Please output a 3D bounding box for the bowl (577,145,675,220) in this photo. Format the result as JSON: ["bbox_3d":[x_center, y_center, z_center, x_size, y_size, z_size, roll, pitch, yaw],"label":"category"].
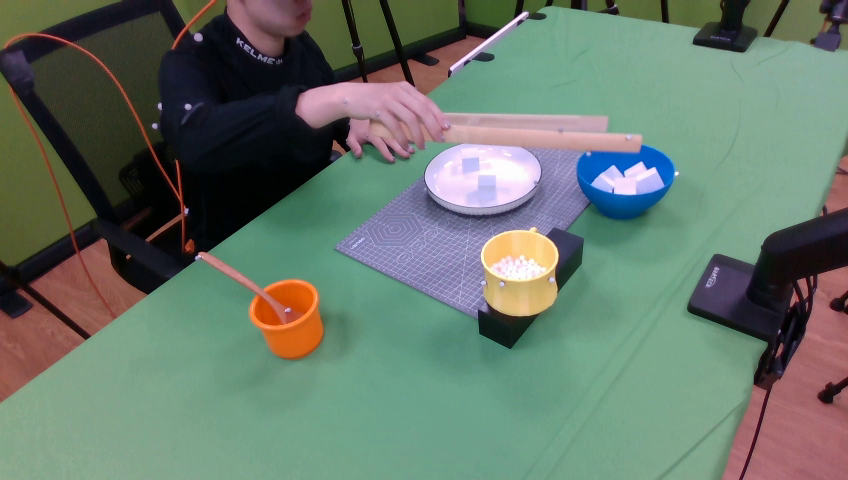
[{"bbox_3d":[0.322,-0.086,0.980,0.151,0.077,0.150,-4,40,4],"label":"bowl"}]

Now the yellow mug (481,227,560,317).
[{"bbox_3d":[0.132,0.032,0.801,0.099,0.064,0.131,11,43,20],"label":"yellow mug"}]

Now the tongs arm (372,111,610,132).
[{"bbox_3d":[0.109,-0.179,0.927,0.389,0.028,0.028,-2,31,-13],"label":"tongs arm"}]

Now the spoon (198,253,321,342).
[{"bbox_3d":[-0.220,0.076,0.815,0.021,0.194,0.041,-36,19,39],"label":"spoon"}]

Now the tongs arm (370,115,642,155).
[{"bbox_3d":[0.115,-0.150,0.865,0.386,0.026,0.050,2,27,-5],"label":"tongs arm"}]

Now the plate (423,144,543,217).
[{"bbox_3d":[0.103,-0.103,1.059,0.207,0.039,0.206,-4,40,4],"label":"plate"}]
